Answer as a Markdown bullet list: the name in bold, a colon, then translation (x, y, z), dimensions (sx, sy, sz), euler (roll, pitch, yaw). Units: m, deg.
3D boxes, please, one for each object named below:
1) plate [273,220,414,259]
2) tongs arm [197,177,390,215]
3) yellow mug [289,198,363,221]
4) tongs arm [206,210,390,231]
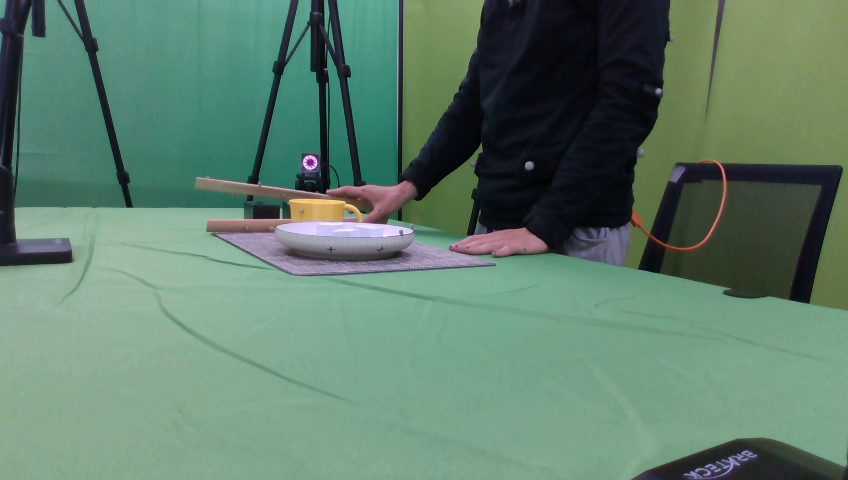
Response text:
- **plate**: translation (-0.118, -0.001, 0.903), dimensions (0.208, 0.039, 0.207), euler (3, 7, 0)
- **tongs arm**: translation (-0.256, -0.083, 1.229), dimensions (0.387, 0.026, 0.050), euler (5, 29, -26)
- **yellow mug**: translation (-0.174, -0.039, 1.071), dimensions (0.131, 0.064, 0.100), euler (3, 6, 0)
- **tongs arm**: translation (-0.224, -0.038, 1.169), dimensions (0.390, 0.028, 0.028), euler (-4, 31, -37)
